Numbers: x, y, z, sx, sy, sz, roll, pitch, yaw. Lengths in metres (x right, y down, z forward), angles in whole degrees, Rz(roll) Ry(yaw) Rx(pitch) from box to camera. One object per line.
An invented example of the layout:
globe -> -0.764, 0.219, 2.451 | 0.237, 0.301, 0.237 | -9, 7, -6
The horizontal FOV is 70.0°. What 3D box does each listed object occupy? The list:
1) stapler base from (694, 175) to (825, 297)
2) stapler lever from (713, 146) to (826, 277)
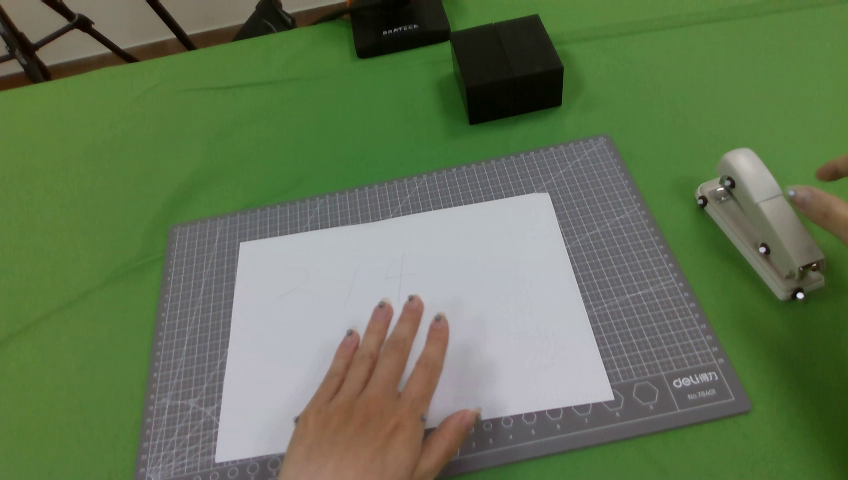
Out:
stapler base -> 0.278, -0.013, 0.506 | 0.041, 0.025, 0.129 | -20, 53, -2
stapler lever -> 0.275, -0.027, 0.485 | 0.027, 0.040, 0.117 | -20, 54, -2
